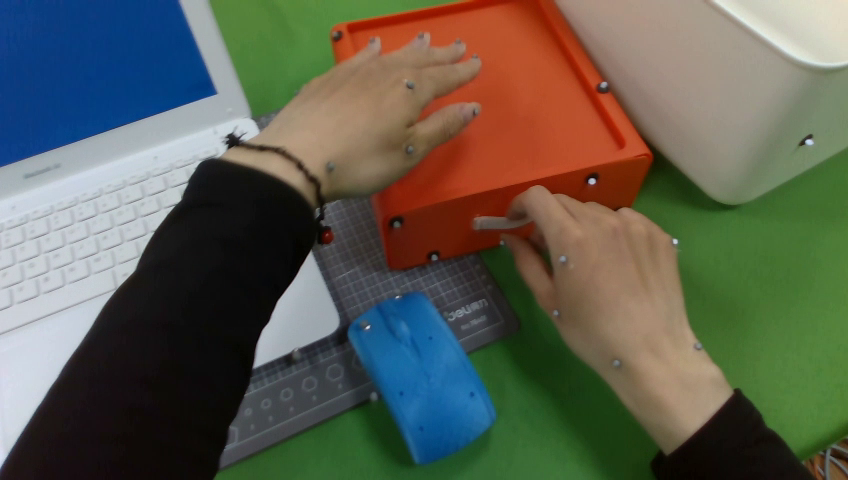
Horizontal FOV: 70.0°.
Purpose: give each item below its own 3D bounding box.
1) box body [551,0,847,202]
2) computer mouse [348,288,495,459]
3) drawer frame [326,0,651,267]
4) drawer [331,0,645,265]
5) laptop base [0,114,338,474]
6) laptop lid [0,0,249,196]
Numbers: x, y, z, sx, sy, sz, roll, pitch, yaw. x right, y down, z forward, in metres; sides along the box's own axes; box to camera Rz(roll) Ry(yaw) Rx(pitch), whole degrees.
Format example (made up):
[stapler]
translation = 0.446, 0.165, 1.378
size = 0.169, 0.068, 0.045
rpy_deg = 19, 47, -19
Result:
[box body]
translation = 0.251, -0.233, 0.530
size = 0.254, 0.162, 0.360
rpy_deg = -27, 60, -15
[computer mouse]
translation = -0.005, 0.083, 0.406
size = 0.063, 0.041, 0.116
rpy_deg = -26, 58, -11
[drawer frame]
translation = 0.040, -0.101, 0.499
size = 0.202, 0.083, 0.211
rpy_deg = -15, 57, -8
[drawer]
translation = 0.040, -0.099, 0.499
size = 0.195, 0.074, 0.209
rpy_deg = -14, 56, -7
[laptop base]
translation = -0.266, 0.041, 0.458
size = 0.355, 0.023, 0.233
rpy_deg = -23, 62, -12
[laptop lid]
translation = -0.344, -0.144, 0.461
size = 0.357, 0.244, 0.013
rpy_deg = -24, 29, -11
